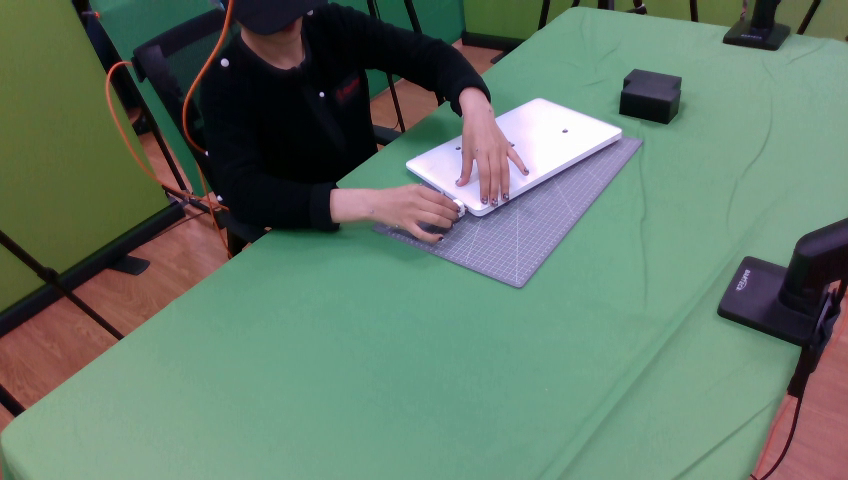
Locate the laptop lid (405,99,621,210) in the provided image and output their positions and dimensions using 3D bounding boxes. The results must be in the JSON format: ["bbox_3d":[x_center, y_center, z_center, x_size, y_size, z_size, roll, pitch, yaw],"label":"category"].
[{"bbox_3d":[0.166,-0.176,1.146,0.358,0.013,0.239,-28,40,-21],"label":"laptop lid"}]

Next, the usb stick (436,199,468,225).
[{"bbox_3d":[0.050,-0.050,1.014,0.059,0.027,0.021,-23,39,-24],"label":"usb stick"}]

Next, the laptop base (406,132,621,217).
[{"bbox_3d":[0.169,-0.167,1.152,0.356,0.023,0.233,-29,40,-22],"label":"laptop base"}]
